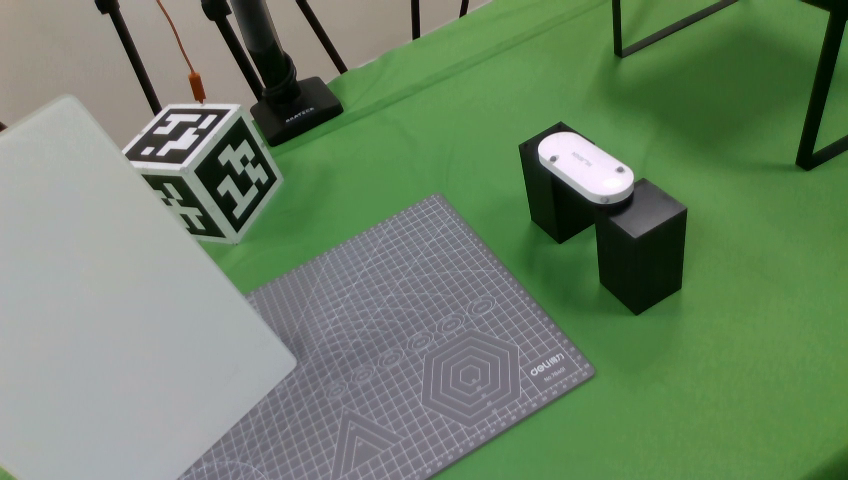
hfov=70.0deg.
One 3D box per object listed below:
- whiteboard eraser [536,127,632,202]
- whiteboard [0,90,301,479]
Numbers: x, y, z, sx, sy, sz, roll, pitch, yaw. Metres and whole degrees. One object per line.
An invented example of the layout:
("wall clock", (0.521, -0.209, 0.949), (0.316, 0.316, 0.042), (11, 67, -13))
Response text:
("whiteboard eraser", (0.135, -0.067, 0.519), (0.041, 0.019, 0.100), (-30, 46, -11))
("whiteboard", (-0.300, 0.062, 0.529), (0.217, 0.308, 0.142), (-44, 30, -21))
